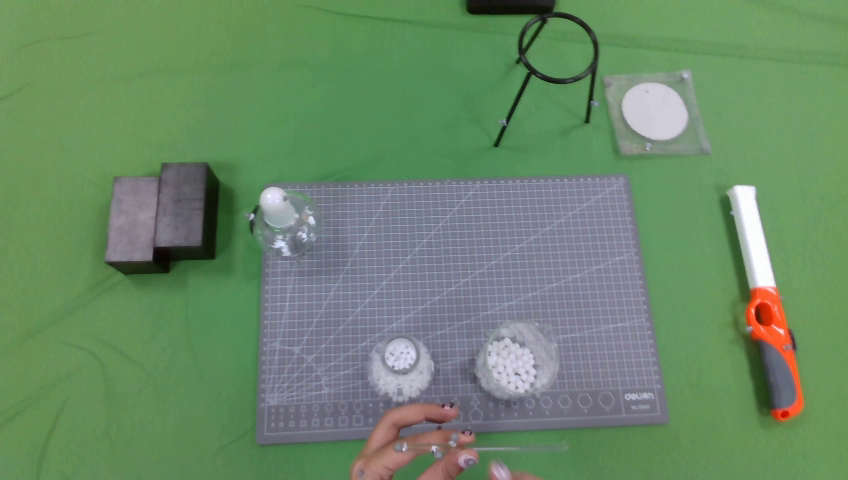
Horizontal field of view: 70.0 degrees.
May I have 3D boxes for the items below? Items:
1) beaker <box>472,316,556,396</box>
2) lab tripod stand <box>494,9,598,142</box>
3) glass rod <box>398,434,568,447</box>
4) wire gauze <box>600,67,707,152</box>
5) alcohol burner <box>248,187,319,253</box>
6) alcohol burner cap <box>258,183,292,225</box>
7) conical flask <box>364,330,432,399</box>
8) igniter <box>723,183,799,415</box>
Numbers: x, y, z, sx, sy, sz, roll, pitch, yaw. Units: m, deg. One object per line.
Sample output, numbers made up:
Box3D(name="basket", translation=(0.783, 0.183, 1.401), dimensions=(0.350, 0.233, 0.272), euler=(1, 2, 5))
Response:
Box3D(name="beaker", translation=(0.092, 0.123, 0.635), dimensions=(0.073, 0.101, 0.084), euler=(44, 75, 10))
Box3D(name="lab tripod stand", translation=(0.142, -0.192, 0.721), dimensions=(0.148, 0.132, 0.147), euler=(1, 74, -3))
Box3D(name="glass rod", translation=(0.057, 0.161, 0.487), dimensions=(0.201, 0.008, 0.008), euler=(15, 66, -40))
Box3D(name="wire gauze", translation=(0.299, -0.169, 0.789), dimensions=(0.125, 0.011, 0.120), euler=(-3, 73, -6))
Box3D(name="alcohol burner", translation=(-0.156, -0.028, 0.659), dimensions=(0.078, 0.119, 0.077), euler=(0, 73, -1))
Box3D(name="alcohol burner cap", translation=(-0.155, -0.040, 0.625), dimensions=(0.034, 0.048, 0.033), euler=(2, 64, -4))
Box3D(name="conical flask", translation=(-0.027, 0.120, 0.617), dimensions=(0.075, 0.122, 0.075), euler=(1, 72, -2))
Box3D(name="igniter", translation=(0.395, 0.063, 0.713), dimensions=(0.057, 0.025, 0.274), euler=(2, 72, -14))
